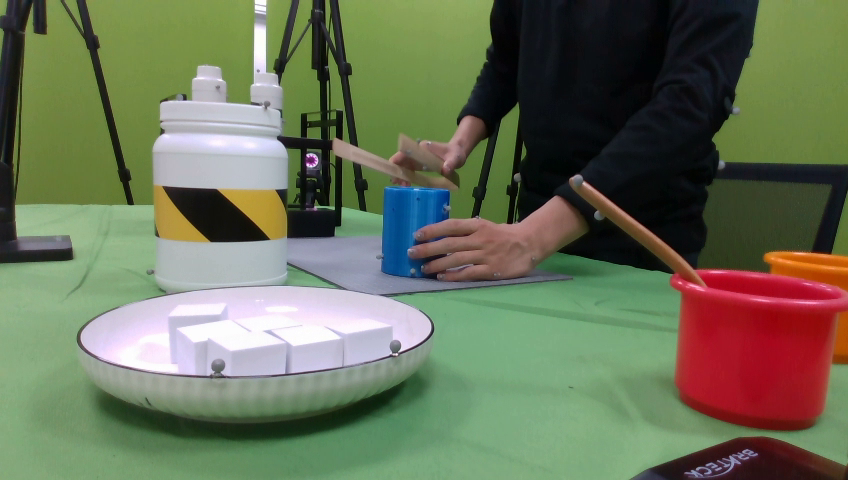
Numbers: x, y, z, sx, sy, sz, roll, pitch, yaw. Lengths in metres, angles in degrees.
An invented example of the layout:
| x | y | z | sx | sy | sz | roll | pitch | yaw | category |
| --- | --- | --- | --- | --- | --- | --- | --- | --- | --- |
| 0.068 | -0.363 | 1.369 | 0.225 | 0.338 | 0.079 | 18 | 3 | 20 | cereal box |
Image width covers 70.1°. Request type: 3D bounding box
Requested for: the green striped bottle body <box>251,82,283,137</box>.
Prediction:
| x | y | z | sx | sy | sz | roll | pitch | yaw | category |
| --- | --- | --- | --- | --- | --- | --- | --- | --- | --- |
| -0.317 | -0.270 | 1.220 | 0.063 | 0.119 | 0.063 | 2 | 7 | 0 | green striped bottle body |

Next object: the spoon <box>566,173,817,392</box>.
| x | y | z | sx | sy | sz | roll | pitch | yaw | category |
| --- | --- | --- | --- | --- | --- | --- | --- | --- | --- |
| 0.161 | 0.024 | 0.370 | 0.193 | 0.021 | 0.042 | 47 | 17 | 3 | spoon |

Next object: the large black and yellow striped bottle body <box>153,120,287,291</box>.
| x | y | z | sx | sy | sz | roll | pitch | yaw | category |
| --- | --- | --- | --- | --- | --- | --- | --- | --- | --- |
| -0.208 | -0.042 | 0.626 | 0.131 | 0.184 | 0.130 | 2 | 7 | 0 | large black and yellow striped bottle body |

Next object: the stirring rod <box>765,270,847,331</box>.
| x | y | z | sx | sy | sz | roll | pitch | yaw | category |
| --- | --- | --- | --- | --- | --- | --- | --- | --- | --- |
| 0.352 | 0.020 | 0.484 | 0.176 | 0.006 | 0.014 | -40 | -7 | 12 | stirring rod |

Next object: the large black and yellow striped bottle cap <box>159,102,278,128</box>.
| x | y | z | sx | sy | sz | roll | pitch | yaw | category |
| --- | --- | --- | --- | --- | --- | --- | --- | --- | --- |
| -0.207 | -0.125 | 0.615 | 0.115 | 0.019 | 0.115 | 2 | 6 | 0 | large black and yellow striped bottle cap |

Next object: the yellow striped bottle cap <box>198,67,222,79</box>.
| x | y | z | sx | sy | sz | roll | pitch | yaw | category |
| --- | --- | --- | --- | --- | --- | --- | --- | --- | --- |
| -0.411 | -0.320 | 1.163 | 0.044 | 0.018 | 0.044 | 0 | 6 | 0 | yellow striped bottle cap |

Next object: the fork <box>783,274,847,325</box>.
| x | y | z | sx | sy | sz | roll | pitch | yaw | category |
| --- | --- | --- | --- | --- | --- | --- | --- | --- | --- |
| 0.332 | 0.018 | 0.443 | 0.028 | 0.018 | 0.207 | -1 | -36 | -15 | fork |

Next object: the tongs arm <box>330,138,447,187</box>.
| x | y | z | sx | sy | sz | roll | pitch | yaw | category |
| --- | --- | --- | --- | --- | --- | --- | --- | --- | --- |
| -0.047 | -0.121 | 1.022 | 0.028 | 0.027 | 0.389 | -8 | -6 | 24 | tongs arm |

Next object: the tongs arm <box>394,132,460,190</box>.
| x | y | z | sx | sy | sz | roll | pitch | yaw | category |
| --- | --- | --- | --- | --- | --- | --- | --- | --- | --- |
| 0.005 | -0.123 | 1.003 | 0.050 | 0.026 | 0.386 | -3 | -4 | 19 | tongs arm |

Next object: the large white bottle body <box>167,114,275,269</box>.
| x | y | z | sx | sy | sz | roll | pitch | yaw | category |
| --- | --- | --- | --- | --- | --- | --- | --- | --- | --- |
| -0.257 | -0.063 | 0.771 | 0.131 | 0.184 | 0.130 | 2 | 7 | 0 | large white bottle body |

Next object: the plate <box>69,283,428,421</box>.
| x | y | z | sx | sy | sz | roll | pitch | yaw | category |
| --- | --- | --- | --- | --- | --- | --- | --- | --- | --- |
| -0.102 | 0.066 | 0.381 | 0.208 | 0.039 | 0.207 | 2 | 7 | 0 | plate |

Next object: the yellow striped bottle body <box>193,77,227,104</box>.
| x | y | z | sx | sy | sz | roll | pitch | yaw | category |
| --- | --- | --- | --- | --- | --- | --- | --- | --- | --- |
| -0.414 | -0.268 | 1.169 | 0.063 | 0.120 | 0.063 | 2 | 7 | 0 | yellow striped bottle body |

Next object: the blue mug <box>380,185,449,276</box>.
| x | y | z | sx | sy | sz | roll | pitch | yaw | category |
| --- | --- | --- | --- | --- | --- | --- | --- | --- | --- |
| -0.018 | -0.016 | 0.764 | 0.083 | 0.106 | 0.116 | -2 | 8 | -25 | blue mug |

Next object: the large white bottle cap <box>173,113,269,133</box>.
| x | y | z | sx | sy | sz | roll | pitch | yaw | category |
| --- | --- | --- | --- | --- | --- | --- | --- | --- | --- |
| -0.254 | -0.146 | 0.760 | 0.115 | 0.018 | 0.115 | 1 | 7 | 0 | large white bottle cap |

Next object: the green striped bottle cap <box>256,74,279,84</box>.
| x | y | z | sx | sy | sz | roll | pitch | yaw | category |
| --- | --- | --- | --- | --- | --- | --- | --- | --- | --- |
| -0.314 | -0.321 | 1.214 | 0.044 | 0.020 | 0.044 | 2 | 8 | 0 | green striped bottle cap |
